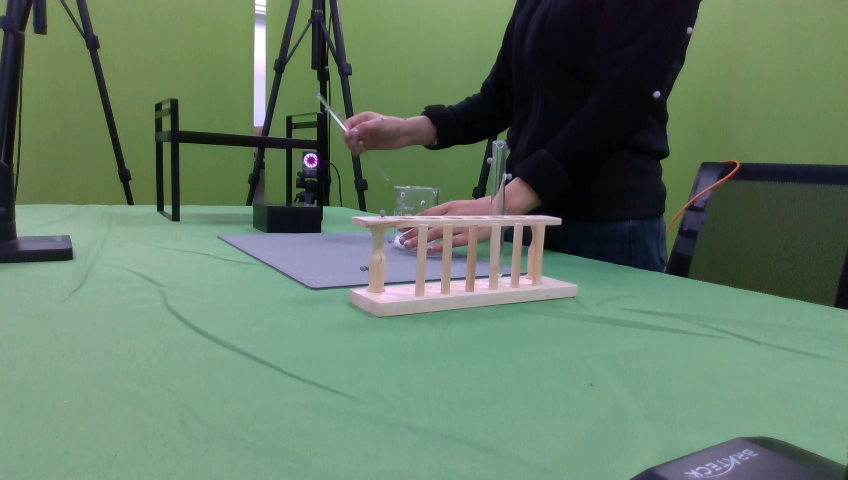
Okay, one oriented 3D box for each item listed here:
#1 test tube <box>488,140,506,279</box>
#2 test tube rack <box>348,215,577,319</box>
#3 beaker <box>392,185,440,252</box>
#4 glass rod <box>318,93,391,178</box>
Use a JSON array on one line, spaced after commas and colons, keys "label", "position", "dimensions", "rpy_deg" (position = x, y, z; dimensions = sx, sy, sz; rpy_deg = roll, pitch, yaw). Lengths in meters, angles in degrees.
[{"label": "test tube", "position": [0.079, -0.032, 0.653], "dimensions": [0.017, 0.150, 0.017], "rpy_deg": [1, 2, 0]}, {"label": "test tube rack", "position": [0.048, 0.021, 0.619], "dimensions": [0.244, 0.085, 0.066], "rpy_deg": [-2, 9, -31]}, {"label": "beaker", "position": [-0.012, -0.035, 0.957], "dimensions": [0.084, 0.100, 0.073], "rpy_deg": [-3, 9, -36]}, {"label": "glass rod", "position": [-0.125, -0.188, 1.103], "dimensions": [0.008, 0.200, 0.008], "rpy_deg": [-35, 20, 15]}]
